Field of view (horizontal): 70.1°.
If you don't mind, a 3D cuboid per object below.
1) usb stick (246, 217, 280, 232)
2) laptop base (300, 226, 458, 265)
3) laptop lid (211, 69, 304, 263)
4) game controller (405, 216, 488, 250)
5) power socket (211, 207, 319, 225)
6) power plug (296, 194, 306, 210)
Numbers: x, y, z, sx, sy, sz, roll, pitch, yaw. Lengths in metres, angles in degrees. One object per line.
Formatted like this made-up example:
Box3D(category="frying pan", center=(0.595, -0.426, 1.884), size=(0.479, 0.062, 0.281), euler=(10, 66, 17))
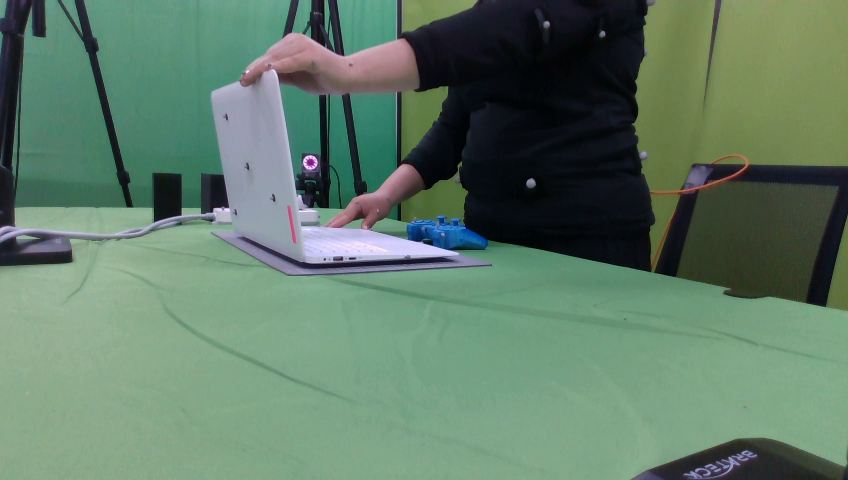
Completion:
Box3D(category="usb stick", center=(-0.297, -0.028, 1.114), size=(0.059, 0.027, 0.021), euler=(-4, 11, -30))
Box3D(category="laptop base", center=(-0.137, 0.006, 0.951), size=(0.237, 0.023, 0.352), euler=(2, 6, -32))
Box3D(category="laptop lid", center=(-0.249, -0.106, 0.864), size=(0.013, 0.241, 0.355), euler=(-12, 15, -29))
Box3D(category="game controller", center=(0.034, -0.013, 1.067), size=(0.097, 0.051, 0.154), euler=(-7, 10, -29))
Box3D(category="power socket", center=(-0.334, -0.051, 1.281), size=(0.228, 0.032, 0.072), euler=(-1, 9, -29))
Box3D(category="power plug", center=(-0.283, -0.075, 1.342), size=(0.035, 0.052, 0.072), euler=(0, 3, -18))
